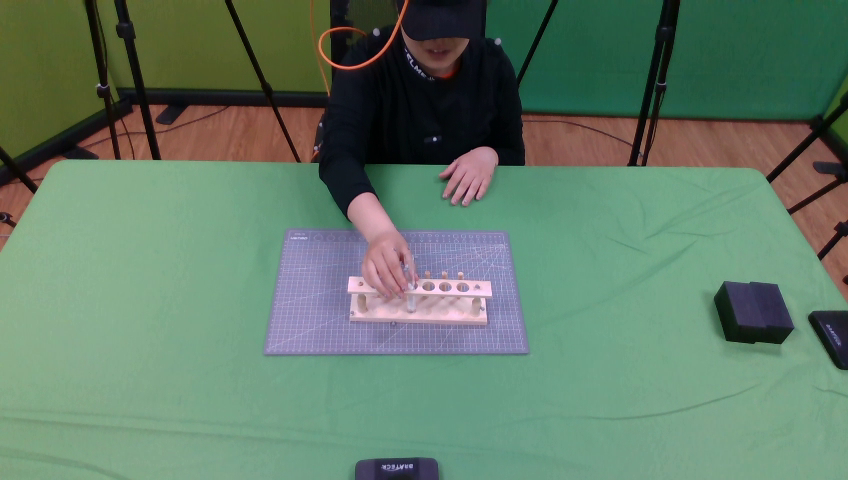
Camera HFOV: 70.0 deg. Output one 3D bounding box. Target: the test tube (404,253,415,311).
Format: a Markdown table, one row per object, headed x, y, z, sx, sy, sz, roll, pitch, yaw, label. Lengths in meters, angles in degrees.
| x | y | z | sx | sy | sz | roll | pitch | yaw | label |
| --- | --- | --- | --- | --- | --- | --- | --- | --- | --- |
| -0.024 | 0.074 | 1.009 | 0.017 | 0.151 | 0.017 | 0 | 50 | 0 | test tube |

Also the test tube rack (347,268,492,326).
| x | y | z | sx | sy | sz | roll | pitch | yaw | label |
| --- | --- | --- | --- | --- | --- | --- | --- | --- | --- |
| -0.009 | 0.095 | 1.059 | 0.242 | 0.085 | 0.066 | 2 | 46 | -2 | test tube rack |
